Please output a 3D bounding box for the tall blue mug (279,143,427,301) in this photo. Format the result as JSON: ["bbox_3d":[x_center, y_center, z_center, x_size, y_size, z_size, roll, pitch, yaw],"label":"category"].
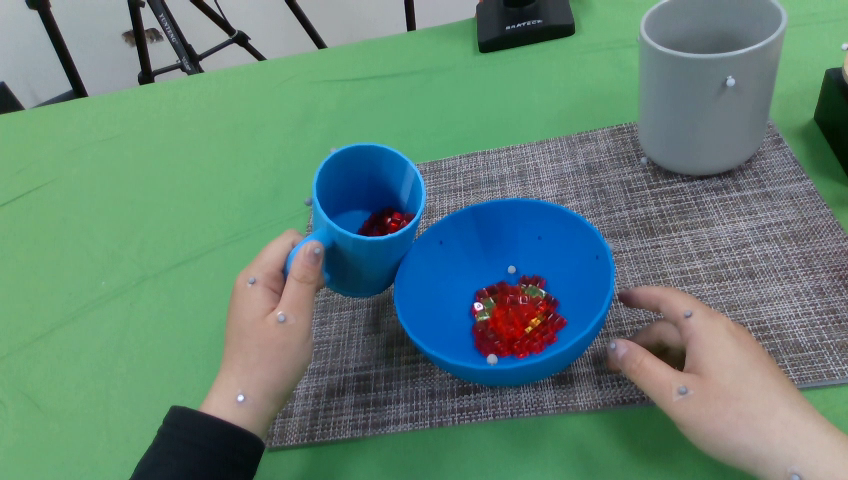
[{"bbox_3d":[-0.050,0.002,0.443,0.078,0.108,0.106,20,63,-1],"label":"tall blue mug"}]

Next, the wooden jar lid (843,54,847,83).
[{"bbox_3d":[0.390,-0.128,0.473,0.108,0.021,0.107,-10,45,10],"label":"wooden jar lid"}]

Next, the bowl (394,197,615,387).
[{"bbox_3d":[0.060,0.048,0.434,0.151,0.077,0.150,-9,45,10],"label":"bowl"}]

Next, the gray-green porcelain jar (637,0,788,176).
[{"bbox_3d":[0.235,-0.126,0.511,0.106,0.128,0.105,-9,45,10],"label":"gray-green porcelain jar"}]
